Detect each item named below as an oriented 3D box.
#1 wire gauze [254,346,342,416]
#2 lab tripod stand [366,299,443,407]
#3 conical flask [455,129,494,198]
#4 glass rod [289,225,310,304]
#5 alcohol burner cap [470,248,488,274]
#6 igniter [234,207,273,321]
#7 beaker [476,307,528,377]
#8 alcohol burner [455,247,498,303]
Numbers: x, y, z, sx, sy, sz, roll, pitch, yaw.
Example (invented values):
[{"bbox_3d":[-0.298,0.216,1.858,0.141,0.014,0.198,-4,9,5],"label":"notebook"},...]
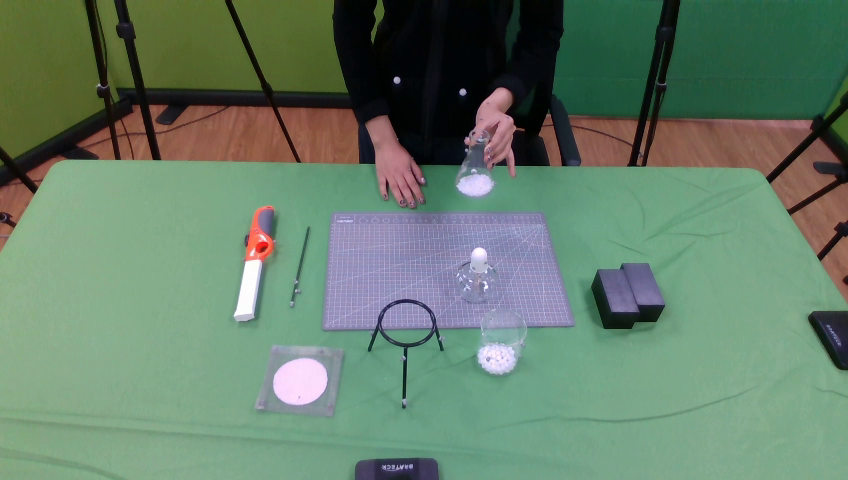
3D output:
[{"bbox_3d":[-0.201,0.223,0.978,0.125,0.011,0.121,4,45,1],"label":"wire gauze"},{"bbox_3d":[-0.028,0.165,0.961,0.148,0.132,0.147,3,44,-2],"label":"lab tripod stand"},{"bbox_3d":[0.097,-0.144,1.122,0.075,0.122,0.075,1,42,-1],"label":"conical flask"},{"bbox_3d":[-0.235,0.043,1.150,0.008,0.008,0.198,3,46,-1],"label":"glass rod"},{"bbox_3d":[0.095,0.034,1.057,0.034,0.048,0.033,-3,52,4],"label":"alcohol burner cap"},{"bbox_3d":[-0.318,0.035,1.137,0.057,0.025,0.274,-8,46,3],"label":"igniter"},{"bbox_3d":[0.122,0.171,0.991,0.084,0.101,0.073,-34,56,-30],"label":"beaker"},{"bbox_3d":[0.095,0.057,1.085,0.078,0.120,0.077,1,47,-1],"label":"alcohol burner"}]
